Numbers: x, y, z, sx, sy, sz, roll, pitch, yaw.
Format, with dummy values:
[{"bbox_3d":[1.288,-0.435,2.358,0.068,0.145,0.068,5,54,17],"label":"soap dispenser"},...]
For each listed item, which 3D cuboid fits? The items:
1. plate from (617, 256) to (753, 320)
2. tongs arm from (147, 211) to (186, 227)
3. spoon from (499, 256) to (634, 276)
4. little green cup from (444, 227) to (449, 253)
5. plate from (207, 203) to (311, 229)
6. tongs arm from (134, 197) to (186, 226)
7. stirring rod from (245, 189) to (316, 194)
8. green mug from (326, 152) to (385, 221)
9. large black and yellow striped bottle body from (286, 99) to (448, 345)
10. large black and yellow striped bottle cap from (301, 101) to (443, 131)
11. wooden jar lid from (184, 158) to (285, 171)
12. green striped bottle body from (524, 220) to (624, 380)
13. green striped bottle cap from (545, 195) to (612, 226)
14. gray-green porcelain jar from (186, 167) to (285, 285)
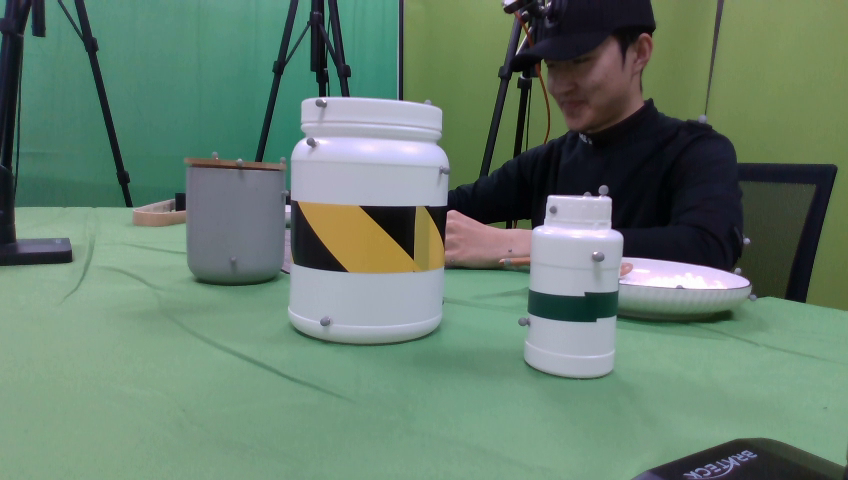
[{"bbox_3d":[0.234,0.049,0.651,0.209,0.038,0.209,2,7,0],"label":"plate"},{"bbox_3d":[-0.478,-0.059,1.322,0.028,0.028,0.388,12,8,7],"label":"tongs arm"},{"bbox_3d":[0.162,0.027,0.679,0.195,0.021,0.041,8,3,-30],"label":"spoon"},{"bbox_3d":[0.008,0.001,0.920,0.061,0.038,0.061,-3,5,1],"label":"little green cup"},{"bbox_3d":[-0.342,-0.050,1.259,0.208,0.039,0.207,2,7,0],"label":"plate"},{"bbox_3d":[-0.556,-0.066,1.320,0.051,0.026,0.384,7,7,-5],"label":"tongs arm"},{"bbox_3d":[-0.351,-0.120,1.489,0.177,0.014,0.006,-2,5,-29],"label":"stirring rod"},{"bbox_3d":[-0.104,-0.085,0.974,0.092,0.105,0.125,4,5,8],"label":"green mug"},{"bbox_3d":[-0.047,-0.018,0.501,0.131,0.184,0.130,2,7,0],"label":"large black and yellow striped bottle body"},{"bbox_3d":[-0.042,-0.100,0.491,0.115,0.019,0.115,1,8,0],"label":"large black and yellow striped bottle cap"},{"bbox_3d":[-0.210,-0.078,0.674,0.108,0.020,0.108,5,6,0],"label":"wooden jar lid"},{"bbox_3d":[0.104,0.031,0.422,0.063,0.119,0.063,2,8,0],"label":"green striped bottle body"},{"bbox_3d":[0.106,-0.020,0.414,0.044,0.020,0.044,2,4,0],"label":"green striped bottle cap"},{"bbox_3d":[-0.212,-0.017,0.682,0.106,0.126,0.106,2,7,0],"label":"gray-green porcelain jar"}]
